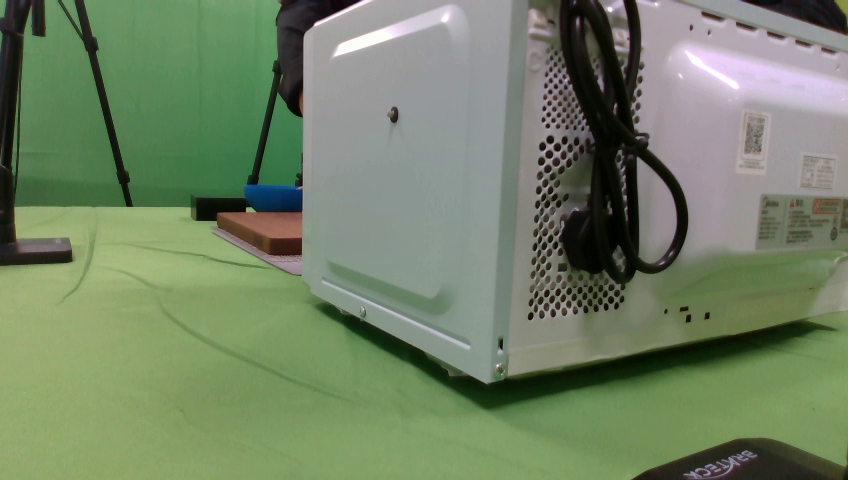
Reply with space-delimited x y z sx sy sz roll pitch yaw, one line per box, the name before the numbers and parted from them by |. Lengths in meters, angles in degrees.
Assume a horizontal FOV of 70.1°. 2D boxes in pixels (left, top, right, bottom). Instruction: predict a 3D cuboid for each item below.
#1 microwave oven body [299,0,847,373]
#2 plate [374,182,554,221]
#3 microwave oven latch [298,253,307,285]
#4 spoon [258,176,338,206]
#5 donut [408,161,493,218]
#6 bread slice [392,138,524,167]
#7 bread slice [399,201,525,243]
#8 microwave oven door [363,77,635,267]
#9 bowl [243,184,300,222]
microwave oven body | 0.151 -0.055 0.543 0.444 0.260 0.324 -2 7 -33
plate | 0.045 -0.043 0.706 0.208 0.039 0.207 2 3 0
microwave oven latch | -0.081 0.027 0.583 0.079 0.029 0.030 -2 7 -33
spoon | -0.279 -0.112 1.356 0.194 0.021 0.041 -27 19 -27
donut | 0.030 -0.060 0.697 0.099 0.048 0.099 13 -13 4
bread slice | 0.047 -0.102 0.704 0.133 0.018 0.107 12 8 36
bread slice | 0.049 -0.019 0.673 0.105 0.019 0.131 11 -14 -31
microwave oven door | 0.091 -0.098 0.823 0.355 0.243 0.039 4 7 15
bowl | -0.322 -0.081 1.334 0.151 0.077 0.151 3 8 0
